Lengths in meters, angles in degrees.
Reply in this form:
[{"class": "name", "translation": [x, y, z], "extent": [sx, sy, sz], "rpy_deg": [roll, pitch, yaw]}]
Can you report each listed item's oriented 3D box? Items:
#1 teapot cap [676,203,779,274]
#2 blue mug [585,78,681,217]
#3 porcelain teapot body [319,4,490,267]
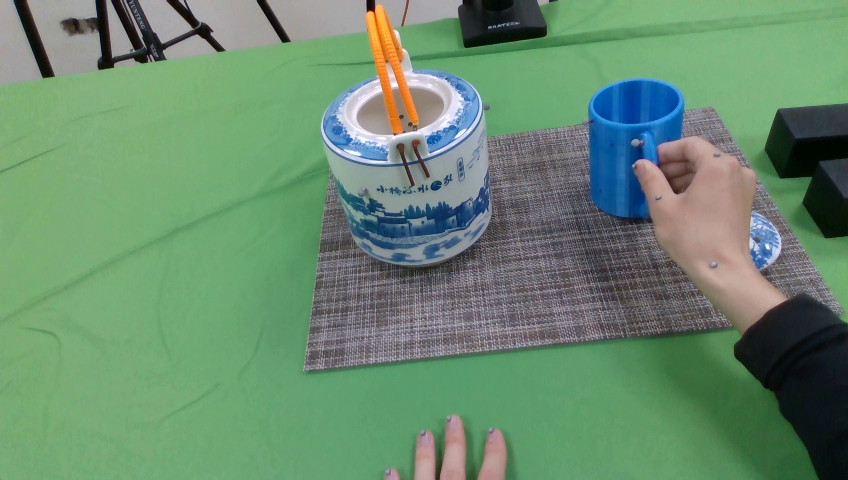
[{"class": "teapot cap", "translation": [0.269, -0.007, 0.537], "extent": [0.085, 0.044, 0.084], "rpy_deg": [-4, 44, 4]}, {"class": "blue mug", "translation": [0.198, -0.077, 0.569], "extent": [0.082, 0.107, 0.115], "rpy_deg": [-8, 42, 8]}, {"class": "porcelain teapot body", "translation": [-0.022, -0.111, 0.563], "extent": [0.145, 0.227, 0.203], "rpy_deg": [-12, 45, -1]}]
